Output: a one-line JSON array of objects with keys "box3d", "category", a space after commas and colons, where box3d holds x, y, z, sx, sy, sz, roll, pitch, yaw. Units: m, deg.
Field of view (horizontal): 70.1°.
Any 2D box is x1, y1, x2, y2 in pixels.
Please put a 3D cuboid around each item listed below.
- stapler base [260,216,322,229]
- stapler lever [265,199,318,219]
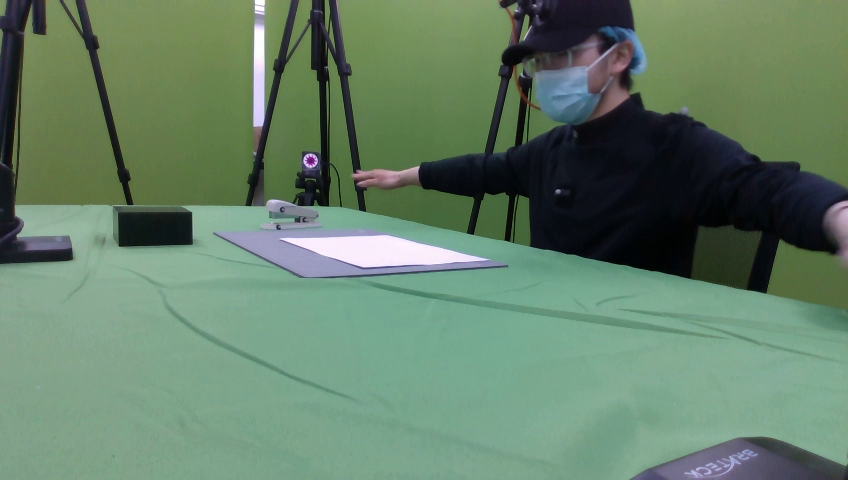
[{"box3d": [-0.265, -0.037, 1.206, 0.041, 0.024, 0.131, 11, 10, 38], "category": "stapler base"}, {"box3d": [-0.263, -0.061, 1.204, 0.026, 0.040, 0.119, 11, 10, 38], "category": "stapler lever"}]
